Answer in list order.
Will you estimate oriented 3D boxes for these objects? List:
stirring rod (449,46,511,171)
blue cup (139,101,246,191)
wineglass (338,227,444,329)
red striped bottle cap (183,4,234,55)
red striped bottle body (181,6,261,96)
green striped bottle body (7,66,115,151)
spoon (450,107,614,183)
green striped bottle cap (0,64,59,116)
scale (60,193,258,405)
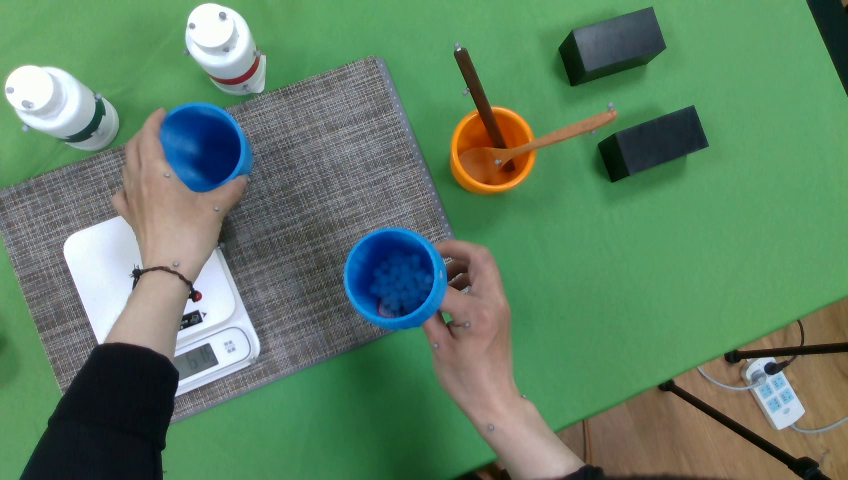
[{"bbox_3d":[0.062,-0.131,0.636,0.014,0.178,0.005,-6,53,23],"label":"stirring rod"},{"bbox_3d":[-0.223,-0.089,0.622,0.093,0.100,0.092,0,91,-7],"label":"blue cup"},{"bbox_3d":[-0.019,0.035,0.476,0.074,0.173,0.073,0,81,4],"label":"wineglass"},{"bbox_3d":[-0.205,-0.200,0.576,0.044,0.018,0.044,0,83,-4],"label":"red striped bottle cap"},{"bbox_3d":[-0.210,-0.197,0.629,0.063,0.119,0.063,0,86,-6],"label":"red striped bottle body"},{"bbox_3d":[-0.367,-0.132,0.610,0.063,0.119,0.063,0,86,-6],"label":"green striped bottle body"},{"bbox_3d":[0.108,-0.100,0.641,0.021,0.193,0.042,-30,102,-49],"label":"spoon"},{"bbox_3d":[-0.362,-0.137,0.554,0.044,0.020,0.044,0,87,-4],"label":"green striped bottle cap"},{"bbox_3d":[-0.281,0.062,0.648,0.149,0.031,0.201,-23,90,-6],"label":"scale"}]
